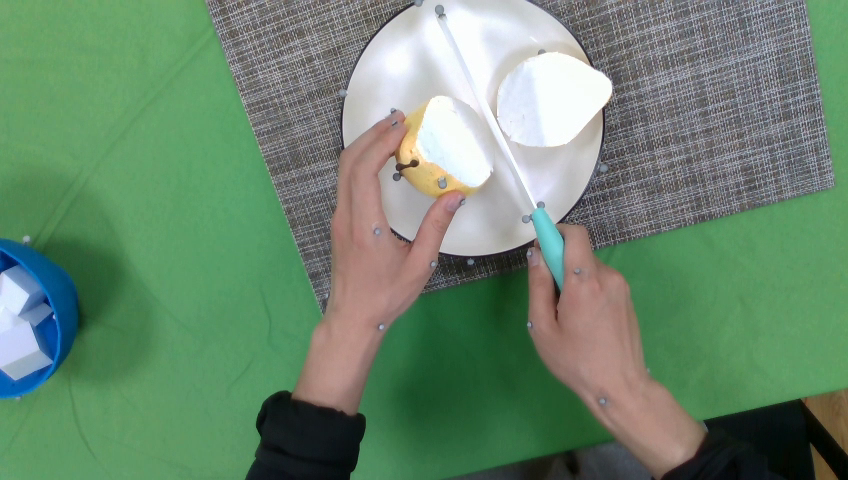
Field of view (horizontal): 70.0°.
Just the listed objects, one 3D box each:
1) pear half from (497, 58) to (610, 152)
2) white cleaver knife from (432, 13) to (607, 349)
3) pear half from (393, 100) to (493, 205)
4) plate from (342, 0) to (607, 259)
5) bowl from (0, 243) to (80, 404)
[{"bbox_3d":[0.101,-0.105,0.471,0.087,0.031,0.070,-6,98,24],"label":"pear half"},{"bbox_3d":[0.077,-0.038,0.460,0.021,0.065,0.288,-26,107,6],"label":"white cleaver knife"},{"bbox_3d":[0.001,-0.056,0.440,0.056,0.110,0.076,-32,87,35],"label":"pear half"},{"bbox_3d":[0.039,-0.089,0.490,0.207,0.039,0.208,2,105,7],"label":"plate"},{"bbox_3d":[-0.381,0.067,0.563,0.151,0.076,0.152,2,105,7],"label":"bowl"}]
